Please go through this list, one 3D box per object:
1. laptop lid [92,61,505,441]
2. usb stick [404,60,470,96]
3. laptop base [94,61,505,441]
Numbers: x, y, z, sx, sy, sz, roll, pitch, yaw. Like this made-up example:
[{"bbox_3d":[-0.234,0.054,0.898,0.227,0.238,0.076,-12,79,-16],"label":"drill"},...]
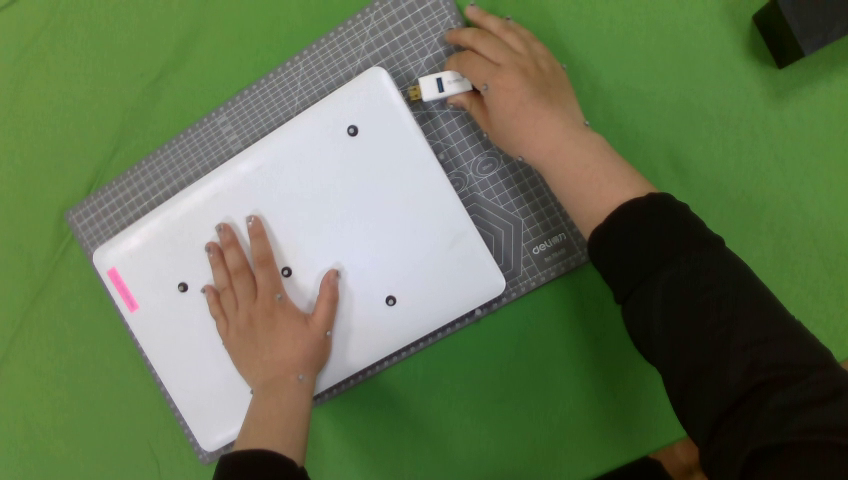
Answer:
[{"bbox_3d":[-0.130,0.025,0.574,0.356,0.013,0.242,-28,93,13],"label":"laptop lid"},{"bbox_3d":[0.009,-0.140,0.531,0.059,0.027,0.021,-11,100,14],"label":"usb stick"},{"bbox_3d":[-0.129,0.022,0.584,0.354,0.023,0.236,-30,94,13],"label":"laptop base"}]
